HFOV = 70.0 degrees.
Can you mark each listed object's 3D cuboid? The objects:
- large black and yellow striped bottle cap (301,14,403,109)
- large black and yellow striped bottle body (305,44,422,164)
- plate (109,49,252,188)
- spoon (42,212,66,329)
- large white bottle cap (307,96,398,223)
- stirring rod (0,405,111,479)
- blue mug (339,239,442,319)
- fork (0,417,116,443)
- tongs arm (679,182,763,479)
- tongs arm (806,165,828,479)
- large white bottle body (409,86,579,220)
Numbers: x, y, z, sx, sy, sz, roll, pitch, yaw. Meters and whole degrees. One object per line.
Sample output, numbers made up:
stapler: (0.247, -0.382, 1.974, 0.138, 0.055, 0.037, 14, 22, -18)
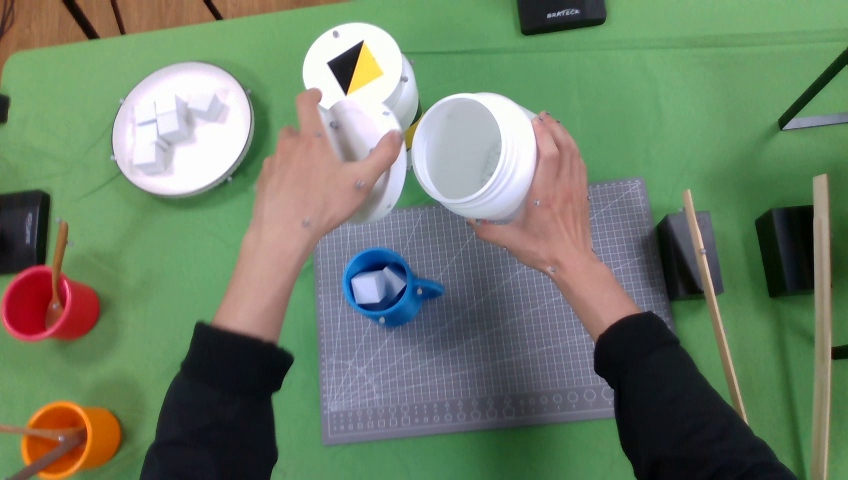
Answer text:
large black and yellow striped bottle cap: (-0.082, -0.201, 0.684, 0.115, 0.019, 0.114, -1, 77, 5)
large black and yellow striped bottle body: (-0.072, -0.179, 0.764, 0.130, 0.185, 0.130, -1, 76, 6)
plate: (-0.343, -0.170, 0.866, 0.207, 0.039, 0.206, -1, 77, 6)
spoon: (-0.471, 0.043, 0.774, 0.041, 0.021, 0.194, 39, 127, 17)
large white bottle cap: (-0.067, -0.072, 0.550, 0.114, 0.018, 0.115, 10, 104, 43)
stirring rod: (-0.456, 0.256, 0.724, 0.014, 0.006, 0.176, 40, 41, 10)
blue mug: (-0.036, 0.051, 0.744, 0.116, 0.106, 0.082, 0, 76, 6)
fork: (-0.483, 0.221, 0.729, 0.209, 0.018, 0.028, 21, 74, -34)
tongs arm: (0.356, 0.118, 0.689, 0.051, 0.026, 0.384, -11, 88, 1)
tongs arm: (0.437, 0.109, 0.685, 0.028, 0.028, 0.387, 3, 88, -2)
large white bottle body: (0.078, -0.091, 0.660, 0.130, 0.186, 0.130, -1, 88, 34)
